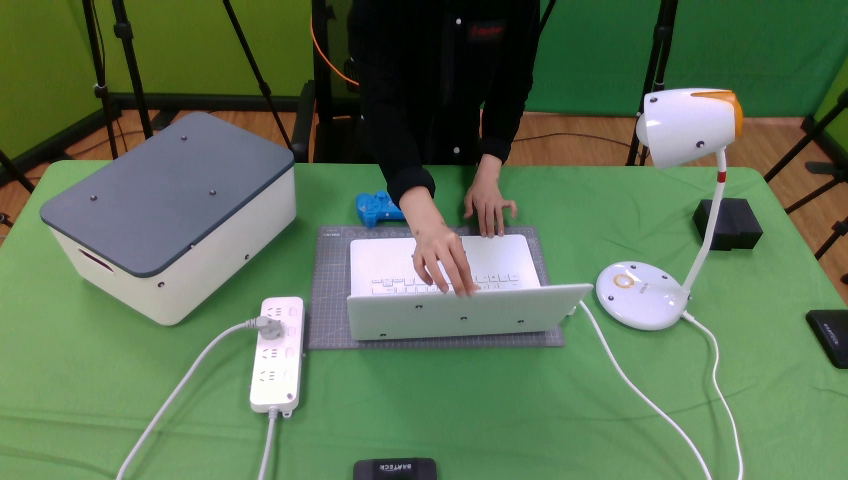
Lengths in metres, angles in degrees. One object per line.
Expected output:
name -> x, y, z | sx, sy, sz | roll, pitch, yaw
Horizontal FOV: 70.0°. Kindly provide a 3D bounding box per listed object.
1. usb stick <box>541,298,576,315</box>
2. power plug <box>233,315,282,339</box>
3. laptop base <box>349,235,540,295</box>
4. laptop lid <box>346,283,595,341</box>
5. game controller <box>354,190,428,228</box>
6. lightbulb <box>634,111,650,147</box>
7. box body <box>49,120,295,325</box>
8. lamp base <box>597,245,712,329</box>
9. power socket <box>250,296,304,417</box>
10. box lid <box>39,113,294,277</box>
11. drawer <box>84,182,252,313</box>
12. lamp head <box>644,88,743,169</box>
usb stick -> 0.240, 0.119, 1.085 | 0.059, 0.027, 0.021 | -1, 51, -2
power plug -> -0.271, 0.144, 1.000 | 0.072, 0.053, 0.035 | 6, 46, 3
laptop base -> 0.039, 0.081, 1.125 | 0.355, 0.023, 0.234 | -2, 43, -6
laptop lid -> 0.060, 0.116, 0.937 | 0.357, 0.242, 0.013 | -2, 66, -8
game controller -> -0.066, -0.072, 1.244 | 0.155, 0.052, 0.096 | -1, 49, -4
lightbulb -> 0.348, -0.163, 0.852 | 0.059, 0.060, 0.107 | -36, 19, -32
box body -> -0.437, -0.046, 1.110 | 0.253, 0.161, 0.363 | 24, 49, 19
lamp base -> 0.418, 0.051, 1.072 | 0.179, 0.181, 0.160 | 22, 49, 13
power socket -> -0.239, 0.182, 0.996 | 0.072, 0.033, 0.225 | -2, 47, -5
box lid -> -0.435, -0.096, 1.056 | 0.262, 0.015, 0.370 | 25, 48, 18
drawer -> -0.457, 0.008, 1.099 | 0.194, 0.073, 0.211 | 30, 49, 20
lamp head -> 0.380, -0.161, 0.851 | 0.122, 0.113, 0.112 | -4, 42, 25
